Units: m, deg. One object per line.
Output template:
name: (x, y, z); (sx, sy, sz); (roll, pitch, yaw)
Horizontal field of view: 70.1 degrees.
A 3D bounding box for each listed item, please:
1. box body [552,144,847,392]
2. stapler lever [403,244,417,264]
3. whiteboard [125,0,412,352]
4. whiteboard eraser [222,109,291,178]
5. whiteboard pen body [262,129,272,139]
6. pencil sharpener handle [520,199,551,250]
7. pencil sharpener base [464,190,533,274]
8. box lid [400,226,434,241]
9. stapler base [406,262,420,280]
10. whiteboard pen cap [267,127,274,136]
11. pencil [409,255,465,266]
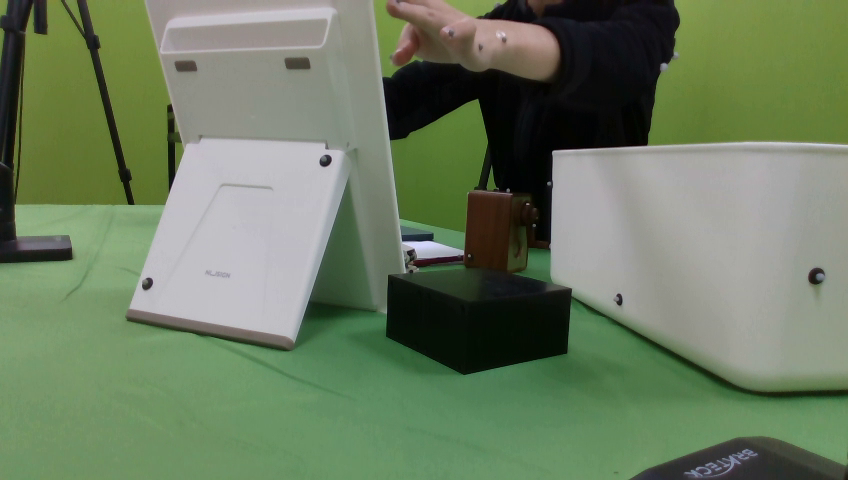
box body: (0.290, 0.002, 0.549); (0.255, 0.160, 0.363); (2, 7, -10)
stapler lever: (-0.066, 0.002, 0.754); (0.117, 0.040, 0.027); (9, 14, 23)
whiteboard: (-0.151, -0.049, 0.471); (0.216, 0.305, 0.144); (6, 27, 24)
whiteboard eraser: (-0.194, -0.105, 0.691); (0.056, 0.041, 0.112); (7, -20, -26)
whiteboard pen body: (-0.361, -0.245, 1.393); (0.017, 0.017, 0.140); (0, 5, -20)
pencil sharpener handle: (0.147, -0.019, 0.785); (0.030, 0.068, 0.036); (8, 26, 36)
pencil sharpener base: (0.103, -0.012, 0.812); (0.076, 0.107, 0.061); (8, 9, 36)
box lid: (-0.196, -0.015, 1.105); (0.373, 0.015, 0.262); (-1, 7, -32)
stapler base: (-0.069, 0.027, 0.759); (0.130, 0.024, 0.041); (9, 14, 23)
whiteboard pen cap: (-0.340, -0.239, 1.337); (0.018, 0.018, 0.033); (1, -1, -14)
pencil: (0.041, 0.027, 0.850); (0.195, 0.012, 0.012); (-4, 10, -45)
